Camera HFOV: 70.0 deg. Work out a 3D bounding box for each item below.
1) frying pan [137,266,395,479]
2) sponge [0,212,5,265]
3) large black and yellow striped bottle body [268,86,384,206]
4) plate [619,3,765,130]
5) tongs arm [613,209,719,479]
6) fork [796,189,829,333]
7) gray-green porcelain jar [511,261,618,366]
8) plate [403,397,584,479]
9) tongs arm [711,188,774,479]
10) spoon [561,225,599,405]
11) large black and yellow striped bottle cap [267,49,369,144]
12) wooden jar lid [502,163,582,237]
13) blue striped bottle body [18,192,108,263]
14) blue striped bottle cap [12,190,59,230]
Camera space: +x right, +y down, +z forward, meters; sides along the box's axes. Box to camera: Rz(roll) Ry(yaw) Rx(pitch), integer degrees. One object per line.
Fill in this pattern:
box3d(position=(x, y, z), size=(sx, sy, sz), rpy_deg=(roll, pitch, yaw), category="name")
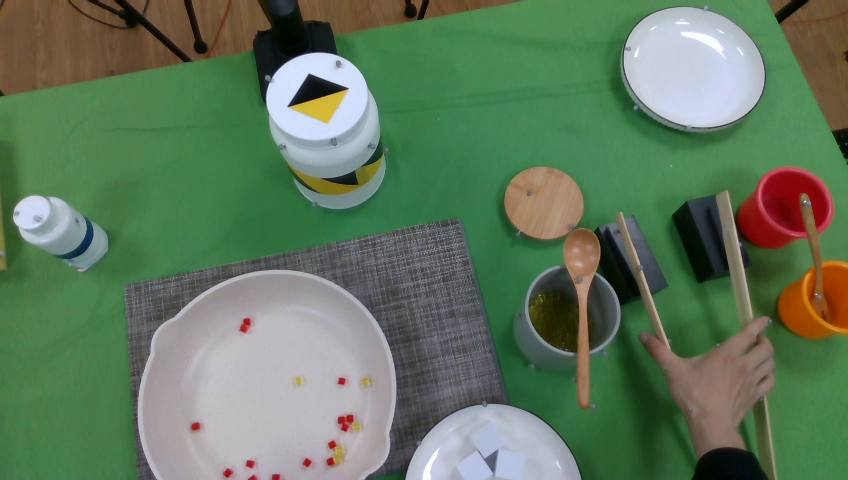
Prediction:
box3d(position=(-0.229, 0.258, 0.674), size=(0.306, 0.103, 0.486), rpy_deg=(28, 65, 9), category="frying pan")
box3d(position=(-0.641, -0.055, 0.801), size=(0.118, 0.061, 0.205), rpy_deg=(-16, 73, -6), category="sponge")
box3d(position=(-0.121, -0.136, 0.768), size=(0.131, 0.185, 0.130), rpy_deg=(0, 71, 0), category="large black and yellow striped bottle body")
box3d(position=(0.386, -0.251, 0.886), size=(0.209, 0.038, 0.207), rpy_deg=(0, 71, 0), category="plate")
box3d(position=(0.309, 0.140, 0.727), size=(0.051, 0.026, 0.383), rpy_deg=(-14, 82, -8), category="tongs arm")
box3d(position=(0.470, 0.029, 0.734), size=(0.028, 0.018, 0.209), rpy_deg=(-25, 117, 0), category="fork")
box3d(position=(0.161, 0.093, 0.724), size=(0.106, 0.127, 0.105), rpy_deg=(0, 71, 0), category="gray-green porcelain jar")
box3d(position=(0.079, 0.289, 0.703), size=(0.208, 0.039, 0.206), rpy_deg=(0, 73, -1), category="plate")
box3d(position=(0.381, 0.126, 0.734), size=(0.028, 0.028, 0.386), rpy_deg=(-3, 81, -9), category="tongs arm")
box3d(position=(0.169, 0.079, 0.655), size=(0.041, 0.022, 0.192), rpy_deg=(4, 75, -1), category="spoon")
box3d(position=(-0.120, -0.164, 0.689), size=(0.115, 0.019, 0.114), rpy_deg=(0, 73, 0), category="large black and yellow striped bottle cap")
box3d(position=(0.161, -0.053, 0.829), size=(0.108, 0.021, 0.107), rpy_deg=(0, 73, 0), category="wooden jar lid")
box3d(position=(-0.456, -0.018, 0.759), size=(0.063, 0.121, 0.062), rpy_deg=(0, 71, 0), category="blue striped bottle body")
box3d(position=(-0.457, -0.035, 0.711), size=(0.044, 0.021, 0.044), rpy_deg=(0, 73, 0), category="blue striped bottle cap")
